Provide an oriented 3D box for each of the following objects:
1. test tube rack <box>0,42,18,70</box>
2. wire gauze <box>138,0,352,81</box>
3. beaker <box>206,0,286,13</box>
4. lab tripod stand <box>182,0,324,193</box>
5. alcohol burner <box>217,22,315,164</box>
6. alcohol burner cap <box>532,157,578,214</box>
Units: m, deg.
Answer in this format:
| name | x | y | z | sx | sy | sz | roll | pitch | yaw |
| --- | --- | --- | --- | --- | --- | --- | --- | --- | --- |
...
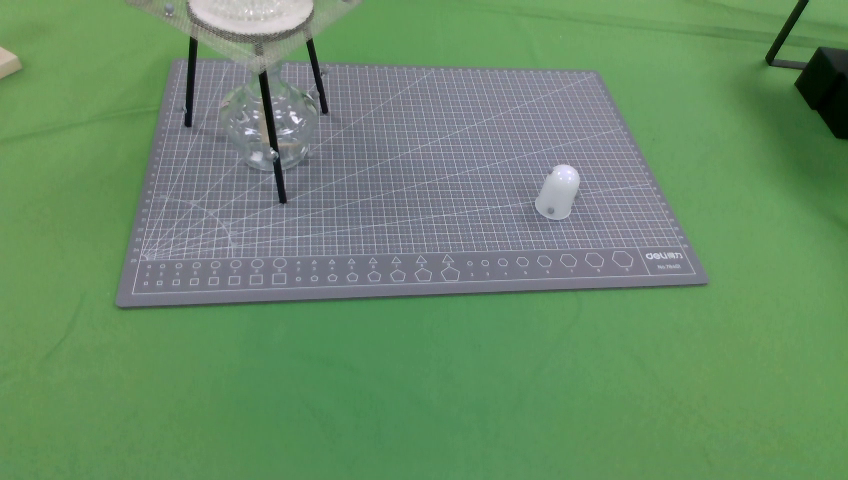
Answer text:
| name | x | y | z | sx | sy | sz | roll | pitch | yaw |
| --- | --- | --- | --- | --- | --- | --- | --- | --- | --- |
| test tube rack | -0.461 | -0.135 | 0.467 | 0.066 | 0.086 | 0.241 | 29 | 52 | 15 |
| wire gauze | -0.126 | -0.174 | 0.434 | 0.124 | 0.011 | 0.121 | 32 | 55 | 12 |
| beaker | -0.124 | -0.210 | 0.399 | 0.073 | 0.101 | 0.084 | 37 | 56 | 19 |
| lab tripod stand | -0.132 | -0.132 | 0.483 | 0.149 | 0.132 | 0.147 | 6 | 50 | -7 |
| alcohol burner | -0.127 | -0.120 | 0.487 | 0.078 | 0.120 | 0.077 | 6 | 48 | -6 |
| alcohol burner cap | 0.113 | -0.048 | 0.513 | 0.034 | 0.048 | 0.033 | 5 | 49 | -5 |
